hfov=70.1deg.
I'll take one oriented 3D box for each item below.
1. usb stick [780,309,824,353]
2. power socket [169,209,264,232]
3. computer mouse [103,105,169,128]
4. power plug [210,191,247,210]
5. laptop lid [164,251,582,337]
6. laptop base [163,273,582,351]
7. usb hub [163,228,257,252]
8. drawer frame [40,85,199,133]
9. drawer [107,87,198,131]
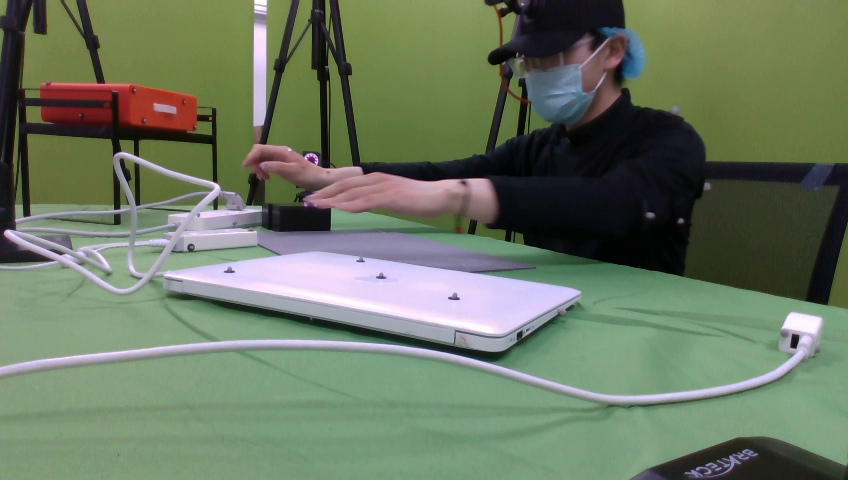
[{"bbox_3d":[0.311,0.072,0.496,0.027,0.021,0.059,8,16,34],"label":"usb stick"},{"bbox_3d":[-0.380,-0.038,1.128,0.072,0.032,0.227,4,8,17],"label":"power socket"},{"bbox_3d":[-0.581,-0.249,1.223,0.118,0.041,0.062,2,3,-39],"label":"computer mouse"},{"bbox_3d":[-0.386,-0.071,1.204,0.072,0.052,0.035,8,10,26],"label":"power plug"},{"bbox_3d":[-0.045,0.040,0.599,0.355,0.013,0.243,7,7,30],"label":"laptop lid"},{"bbox_3d":[-0.046,0.052,0.598,0.353,0.023,0.236,6,6,28],"label":"laptop base"},{"bbox_3d":[-0.313,-0.001,0.894,0.049,0.025,0.126,9,11,41],"label":"usb hub"},{"bbox_3d":[-0.612,-0.266,1.235,0.213,0.082,0.202,4,8,15],"label":"drawer frame"},{"bbox_3d":[-0.609,-0.265,1.236,0.211,0.073,0.195,4,8,16],"label":"drawer"}]
